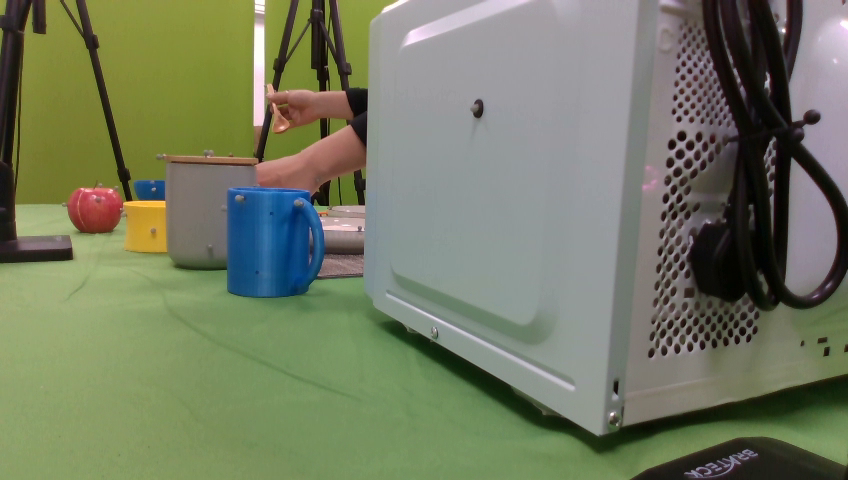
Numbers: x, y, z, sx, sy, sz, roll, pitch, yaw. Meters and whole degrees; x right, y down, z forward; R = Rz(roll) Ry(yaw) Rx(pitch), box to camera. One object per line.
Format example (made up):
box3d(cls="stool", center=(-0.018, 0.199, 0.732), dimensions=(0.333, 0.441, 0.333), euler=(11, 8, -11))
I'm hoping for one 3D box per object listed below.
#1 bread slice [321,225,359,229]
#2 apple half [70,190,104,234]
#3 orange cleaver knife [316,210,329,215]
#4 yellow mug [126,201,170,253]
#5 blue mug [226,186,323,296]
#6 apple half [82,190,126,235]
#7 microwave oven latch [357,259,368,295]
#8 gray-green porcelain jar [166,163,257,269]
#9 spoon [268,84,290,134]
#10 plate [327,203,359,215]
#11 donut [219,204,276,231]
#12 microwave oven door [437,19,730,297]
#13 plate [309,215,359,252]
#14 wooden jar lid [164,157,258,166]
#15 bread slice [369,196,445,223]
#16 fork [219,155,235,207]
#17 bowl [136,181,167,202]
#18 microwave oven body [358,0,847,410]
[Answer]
box3d(cls="bread slice", center=(-0.124, -0.008, 0.939), dimensions=(0.131, 0.019, 0.105), euler=(5, 9, 33))
box3d(cls="apple half", center=(-0.552, -0.047, 1.009), dimensions=(0.053, 0.074, 0.081), euler=(0, 10, 26))
box3d(cls="orange cleaver knife", center=(-0.259, -0.064, 1.423), dimensions=(0.212, 0.012, 0.077), euler=(-4, 3, -30))
box3d(cls="yellow mug", center=(-0.361, -0.019, 0.866), dimensions=(0.130, 0.064, 0.100), euler=(6, 9, 27))
box3d(cls="blue mug", center=(-0.148, 0.000, 0.618), dimensions=(0.116, 0.106, 0.083), euler=(7, 9, 33))
box3d(cls="apple half", center=(-0.516, -0.046, 0.994), dimensions=(0.032, 0.081, 0.081), euler=(0, 6, 26))
box3d(cls="microwave oven latch", center=(-0.019, 0.031, 0.529), dimensions=(0.079, 0.029, 0.030), euler=(-1, 7, -26))
box3d(cls="gray-green porcelain jar", center=(-0.263, -0.031, 0.754), dimensions=(0.106, 0.126, 0.106), euler=(2, 7, 0))
box3d(cls="spoon", center=(-0.339, -0.305, 1.388), dimensions=(0.041, 0.193, 0.022), euler=(-23, -36, 1))
box3d(cls="plate", center=(-0.102, -0.053, 1.299), dimensions=(0.209, 0.038, 0.209), euler=(2, 8, 0))
box3d(cls="donut", center=(-0.316, -0.039, 1.083), dimensions=(0.099, 0.048, 0.099), euler=(2, 7, 0))
box3d(cls="microwave oven door", center=(0.181, -0.076, 0.618), dimensions=(0.358, 0.243, 0.039), euler=(-2, 9, -28))
box3d(cls="plate", center=(-0.130, -0.011, 0.945), dimensions=(0.208, 0.039, 0.207), euler=(2, 8, 0))
box3d(cls="wooden jar lid", center=(-0.261, -0.093, 0.746), dimensions=(0.108, 0.020, 0.108), euler=(0, 9, 0))
box3d(cls="bread slice", center=(-0.040, -0.057, 1.142), dimensions=(0.107, 0.018, 0.133), euler=(-9, -8, -39))
box3d(cls="fork", center=(-0.459, -0.134, 1.415), dimensions=(0.028, 0.018, 0.207), euler=(-1, -34, -25))
box3d(cls="bowl", center=(-0.497, -0.076, 1.221), dimensions=(0.151, 0.077, 0.151), euler=(2, 8, 0))
box3d(cls="microwave oven body", center=(0.210, -0.051, 0.471), dimensions=(0.444, 0.260, 0.324), euler=(-1, 7, -28))
